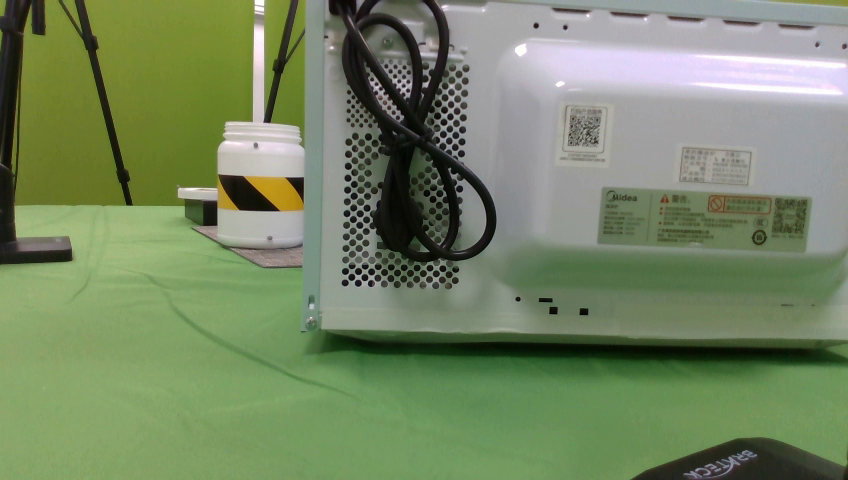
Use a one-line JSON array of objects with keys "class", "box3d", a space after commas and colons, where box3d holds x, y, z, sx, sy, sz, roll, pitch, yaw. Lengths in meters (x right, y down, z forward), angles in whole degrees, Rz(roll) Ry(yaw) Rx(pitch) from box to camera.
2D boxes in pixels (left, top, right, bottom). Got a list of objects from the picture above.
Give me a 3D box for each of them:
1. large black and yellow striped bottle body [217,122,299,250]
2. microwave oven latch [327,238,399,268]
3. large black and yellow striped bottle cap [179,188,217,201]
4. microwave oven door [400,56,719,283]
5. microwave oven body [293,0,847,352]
[{"class": "large black and yellow striped bottle body", "box3d": [-0.250, -0.084, 0.931, 0.131, 0.184, 0.130, 2, 7, 0]}, {"class": "microwave oven latch", "box3d": [-0.069, 0.015, 0.694, 0.079, 0.029, 0.030, 3, 7, -3]}, {"class": "large black and yellow striped bottle cap", "box3d": [-0.434, -0.093, 1.226, 0.115, 0.019, 0.115, 3, 9, 0]}, {"class": "microwave oven door", "box3d": [0.155, -0.077, 0.698, 0.356, 0.243, 0.039, 2, 8, -5]}, {"class": "microwave oven body", "box3d": [0.122, -0.055, 0.550, 0.442, 0.260, 0.325, 3, 7, -5]}]
